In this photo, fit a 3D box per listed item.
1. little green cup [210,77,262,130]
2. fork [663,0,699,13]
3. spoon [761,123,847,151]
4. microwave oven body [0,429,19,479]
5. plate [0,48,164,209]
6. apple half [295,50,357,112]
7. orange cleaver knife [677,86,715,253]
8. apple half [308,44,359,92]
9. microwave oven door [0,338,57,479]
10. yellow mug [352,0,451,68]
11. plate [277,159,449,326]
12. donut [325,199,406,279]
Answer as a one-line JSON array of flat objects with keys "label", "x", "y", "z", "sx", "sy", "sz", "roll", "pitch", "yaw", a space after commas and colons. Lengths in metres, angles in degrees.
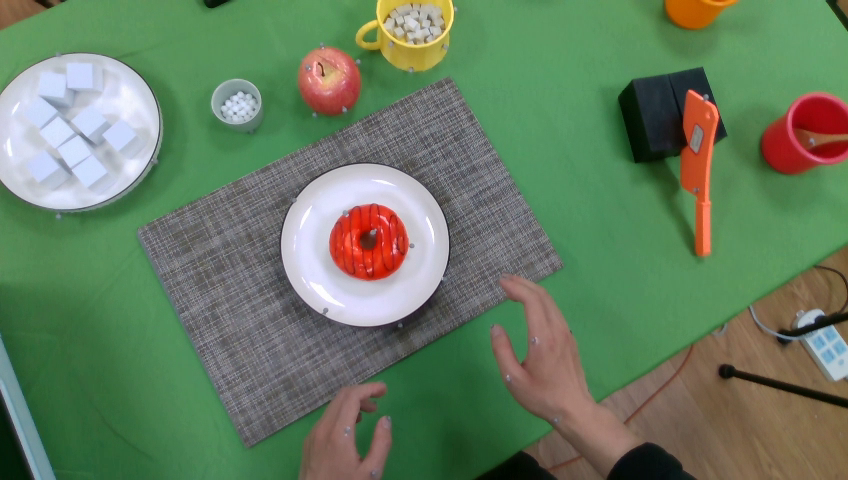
[{"label": "little green cup", "x": -0.238, "y": -0.172, "z": 0.777, "sx": 0.061, "sy": 0.039, "sz": 0.061, "roll": 1, "pitch": 79, "yaw": -4}, {"label": "fork", "x": 0.422, "y": -0.369, "z": 0.807, "sx": 0.207, "sy": 0.019, "sz": 0.028, "roll": -28, "pitch": 76, "yaw": 35}, {"label": "spoon", "x": 0.539, "y": -0.134, "z": 0.773, "sx": 0.192, "sy": 0.022, "sz": 0.041, "roll": 6, "pitch": 68, "yaw": 42}, {"label": "microwave oven body", "x": -0.567, "y": 0.272, "z": 0.548, "sx": 0.326, "sy": 0.261, "sz": 0.440, "roll": -26, "pitch": 82, "yaw": -9}, {"label": "plate", "x": -0.428, "y": -0.137, "z": 0.756, "sx": 0.208, "sy": 0.039, "sz": 0.206, "roll": 1, "pitch": 79, "yaw": -4}, {"label": "apple half", "x": -0.132, "y": -0.193, "z": 0.772, "sx": 0.081, "sy": 0.075, "sz": 0.053, "roll": 35, "pitch": 83, "yaw": -1}, {"label": "orange cleaver knife", "x": 0.346, "y": -0.088, "z": 0.778, "sx": 0.012, "sy": 0.076, "sz": 0.212, "roll": -9, "pitch": 112, "yaw": -4}, {"label": "apple half", "x": -0.110, "y": -0.225, "z": 0.778, "sx": 0.081, "sy": 0.081, "sz": 0.033, "roll": 34, "pitch": 83, "yaw": 3}, {"label": "microwave oven door", "x": -0.418, "y": 0.246, "z": 0.559, "sx": 0.039, "sy": 0.244, "sz": 0.354, "roll": -26, "pitch": 82, "yaw": -9}, {"label": "yellow mug", "x": -0.032, "y": -0.283, "z": 0.800, "sx": 0.131, "sy": 0.064, "sz": 0.099, "roll": -18, "pitch": 80, "yaw": -7}, {"label": "plate", "x": -0.074, "y": 0.003, "z": 0.751, "sx": 0.209, "sy": 0.038, "sz": 0.208, "roll": 1, "pitch": 79, "yaw": -4}, {"label": "donut", "x": -0.072, "y": -0.001, "z": 0.741, "sx": 0.099, "sy": 0.048, "sz": 0.098, "roll": 1, "pitch": 81, "yaw": -4}]
